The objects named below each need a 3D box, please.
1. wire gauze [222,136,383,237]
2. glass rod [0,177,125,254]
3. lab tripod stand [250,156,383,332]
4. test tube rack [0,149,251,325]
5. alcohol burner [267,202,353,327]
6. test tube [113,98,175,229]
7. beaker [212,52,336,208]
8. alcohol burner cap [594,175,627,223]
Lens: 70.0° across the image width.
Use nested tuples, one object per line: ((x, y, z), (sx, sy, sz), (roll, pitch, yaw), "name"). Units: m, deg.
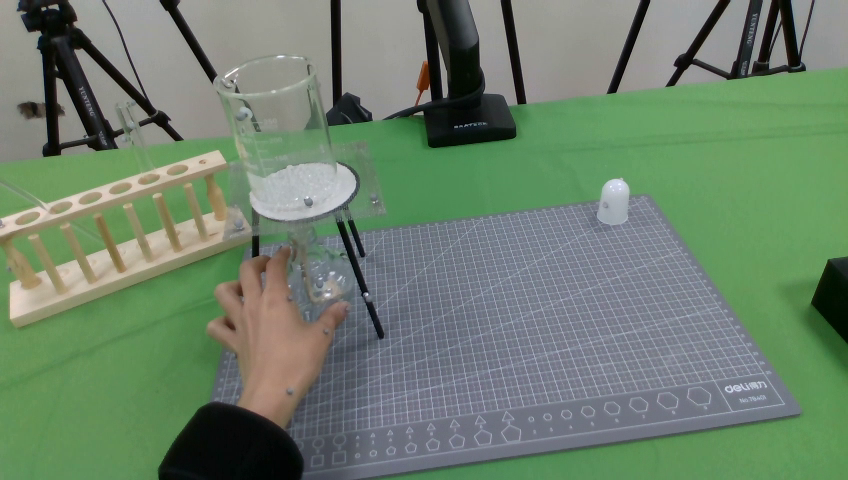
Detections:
((-0.102, -0.045, 0.497), (0.125, 0.011, 0.120), (-13, 36, -4), "wire gauze")
((-0.376, -0.037, 0.583), (0.008, 0.202, 0.008), (-20, 48, 25), "glass rod")
((-0.096, 0.006, 0.537), (0.148, 0.133, 0.147), (-4, 40, 4), "lab tripod stand")
((-0.314, -0.009, 0.629), (0.243, 0.086, 0.066), (-23, 41, -20), "test tube rack")
((-0.104, 0.018, 0.538), (0.078, 0.120, 0.077), (-4, 36, 3), "alcohol burner")
((-0.288, -0.074, 0.628), (0.017, 0.151, 0.017), (-3, 35, 3), "test tube")
((-0.112, -0.082, 0.465), (0.083, 0.101, 0.073), (12, 41, 24), "beaker")
((0.197, -0.046, 0.637), (0.034, 0.048, 0.033), (-4, 38, 3), "alcohol burner cap")
